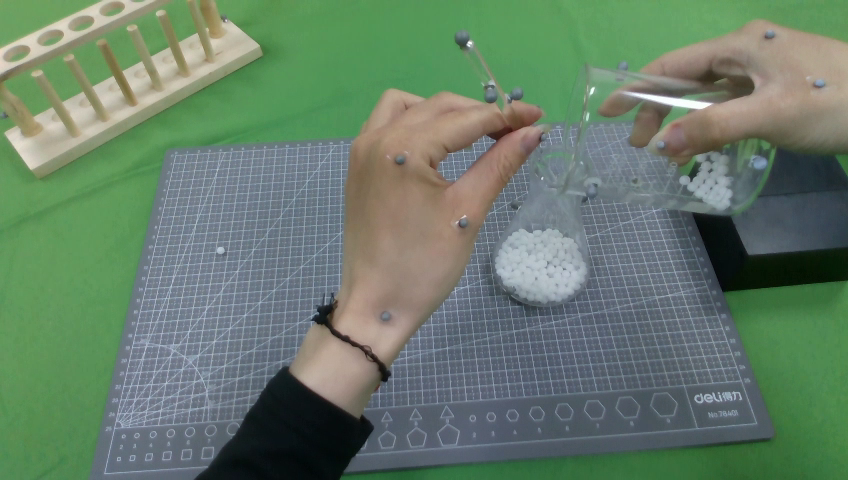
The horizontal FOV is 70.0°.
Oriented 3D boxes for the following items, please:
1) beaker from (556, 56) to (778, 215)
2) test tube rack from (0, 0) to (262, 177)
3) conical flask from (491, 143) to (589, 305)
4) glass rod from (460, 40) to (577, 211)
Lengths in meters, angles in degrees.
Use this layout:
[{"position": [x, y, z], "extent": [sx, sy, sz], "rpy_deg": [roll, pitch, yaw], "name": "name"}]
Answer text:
[{"position": [0.130, -0.054, 0.337], "extent": [0.100, 0.084, 0.073], "rpy_deg": [9, 68, 5], "name": "beaker"}, {"position": [-0.281, -0.168, 0.567], "extent": [0.242, 0.086, 0.066], "rpy_deg": [-38, 62, -21], "name": "test tube rack"}, {"position": [0.087, -0.013, 0.423], "extent": [0.075, 0.123, 0.074], "rpy_deg": [-1, 56, 2], "name": "conical flask"}, {"position": [0.061, -0.051, 0.336], "extent": [0.008, 0.201, 0.008], "rpy_deg": [-9, 69, 24], "name": "glass rod"}]
